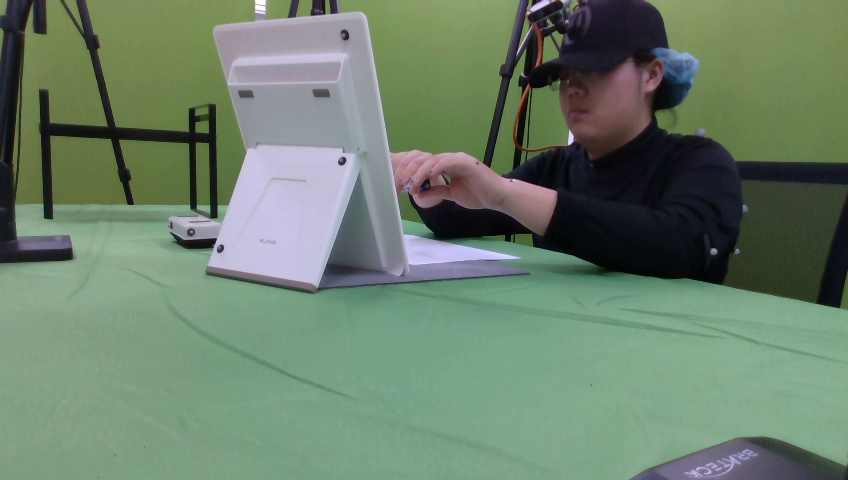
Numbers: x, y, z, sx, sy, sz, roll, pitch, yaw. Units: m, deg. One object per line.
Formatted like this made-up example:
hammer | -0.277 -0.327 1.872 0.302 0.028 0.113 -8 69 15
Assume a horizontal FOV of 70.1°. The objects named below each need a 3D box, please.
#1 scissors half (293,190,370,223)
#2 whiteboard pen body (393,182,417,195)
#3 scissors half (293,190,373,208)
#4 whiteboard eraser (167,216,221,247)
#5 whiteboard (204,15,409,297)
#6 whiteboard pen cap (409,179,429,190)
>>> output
scissors half | -0.205 -0.077 1.338 0.175 0.040 0.013 22 12 -8
whiteboard pen body | -0.042 -0.075 0.900 0.017 0.017 0.140 -3 2 -36
scissors half | -0.201 -0.096 1.332 0.175 0.040 0.013 5 19 -4
whiteboard eraser | -0.350 -0.013 0.920 0.056 0.042 0.112 0 7 -35
whiteboard | -0.166 -0.072 0.669 0.216 0.305 0.144 8 30 30
whiteboard pen cap | -0.008 -0.078 0.853 0.018 0.018 0.033 -2 5 -32
